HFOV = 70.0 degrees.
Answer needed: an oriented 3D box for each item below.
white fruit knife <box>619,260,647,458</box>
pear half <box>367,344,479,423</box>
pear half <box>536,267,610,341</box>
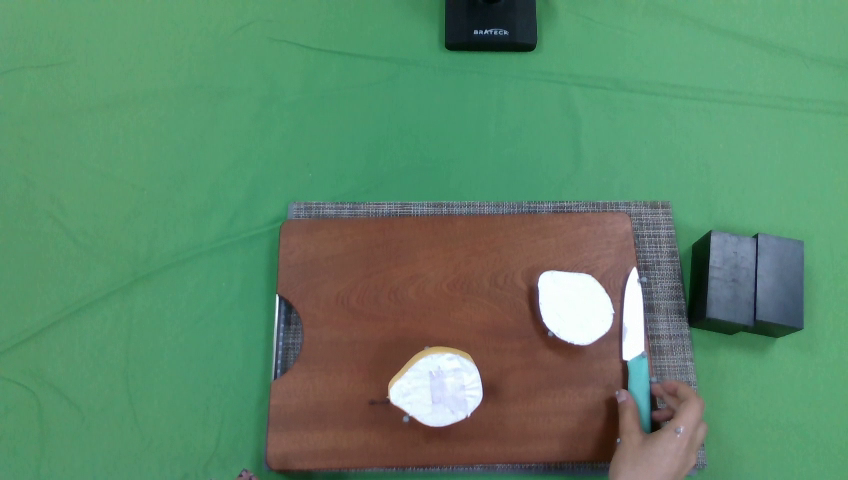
[{"bbox_3d":[0.218,0.120,0.633,0.027,0.016,0.206,-2,71,23],"label":"white fruit knife"},{"bbox_3d":[-0.003,0.143,0.604,0.110,0.056,0.076,-8,90,-5],"label":"pear half"},{"bbox_3d":[0.156,0.066,0.643,0.070,0.031,0.087,-42,65,2],"label":"pear half"}]
